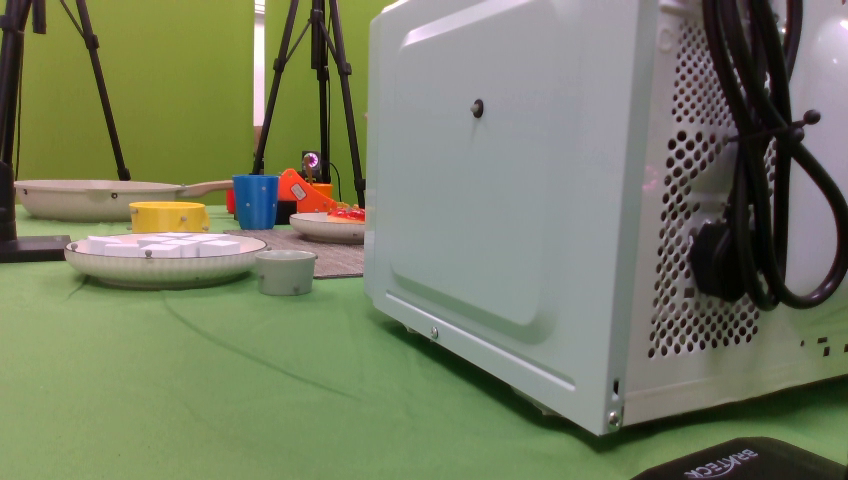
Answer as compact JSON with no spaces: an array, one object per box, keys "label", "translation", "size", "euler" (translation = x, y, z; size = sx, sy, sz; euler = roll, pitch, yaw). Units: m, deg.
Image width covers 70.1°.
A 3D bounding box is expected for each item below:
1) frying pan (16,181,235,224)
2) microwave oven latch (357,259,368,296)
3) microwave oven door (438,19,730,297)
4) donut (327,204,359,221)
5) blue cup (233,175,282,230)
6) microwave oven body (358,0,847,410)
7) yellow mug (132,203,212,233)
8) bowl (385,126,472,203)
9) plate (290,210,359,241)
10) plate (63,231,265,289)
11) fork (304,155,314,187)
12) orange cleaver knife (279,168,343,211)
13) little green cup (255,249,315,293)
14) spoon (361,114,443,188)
[{"label":"frying pan","translation":[-0.554,-0.097,1.266],"size":[0.490,0.102,0.305],"euler":[-10,13,-24]},{"label":"microwave oven latch","translation":[-0.019,0.031,0.528],"size":[0.079,0.029,0.030],"euler":[-1,7,-25]},{"label":"microwave oven door","translation":[0.181,-0.076,0.618],"size":[0.358,0.243,0.039],"euler":[-2,8,-28]},{"label":"donut","translation":[-0.120,-0.037,1.056],"size":[0.099,0.048,0.099],"euler":[5,7,0]},{"label":"blue cup","translation":[-0.314,-0.071,1.141],"size":[0.093,0.100,0.092],"euler":[0,7,0]},{"label":"microwave oven body","translation":[0.210,-0.051,0.471],"size":[0.444,0.260,0.324],"euler":[-1,7,-28]},{"label":"yellow mug","translation":[-0.356,-0.020,0.878],"size":[0.099,0.064,0.131],"euler":[4,7,22]},{"label":"bowl","translation":[0.016,-0.114,1.009],"size":[0.151,0.076,0.151],"euler":[-14,-22,-5]},{"label":"plate","translation":[-0.127,-0.025,1.051],"size":[0.209,0.038,0.209],"euler":[3,7,0]},{"label":"plate","translation":[-0.288,0.021,0.687],"size":[0.208,0.039,0.207],"euler":[2,8,0]},{"label":"fork","translation":[-0.268,-0.134,1.446],"size":[0.028,0.018,0.207],"euler":[2,-36,-1]},{"label":"orange cleaver knife","translation":[-0.236,-0.084,1.333],"size":[0.212,0.077,0.012],"euler":[31,-9,-31]},{"label":"little green cup","translation":[-0.144,0.031,0.627],"size":[0.061,0.038,0.061],"euler":[2,6,0]},{"label":"spoon","translation":[-0.040,-0.157,1.052],"size":[0.193,0.021,0.042],"euler":[47,36,8]}]
